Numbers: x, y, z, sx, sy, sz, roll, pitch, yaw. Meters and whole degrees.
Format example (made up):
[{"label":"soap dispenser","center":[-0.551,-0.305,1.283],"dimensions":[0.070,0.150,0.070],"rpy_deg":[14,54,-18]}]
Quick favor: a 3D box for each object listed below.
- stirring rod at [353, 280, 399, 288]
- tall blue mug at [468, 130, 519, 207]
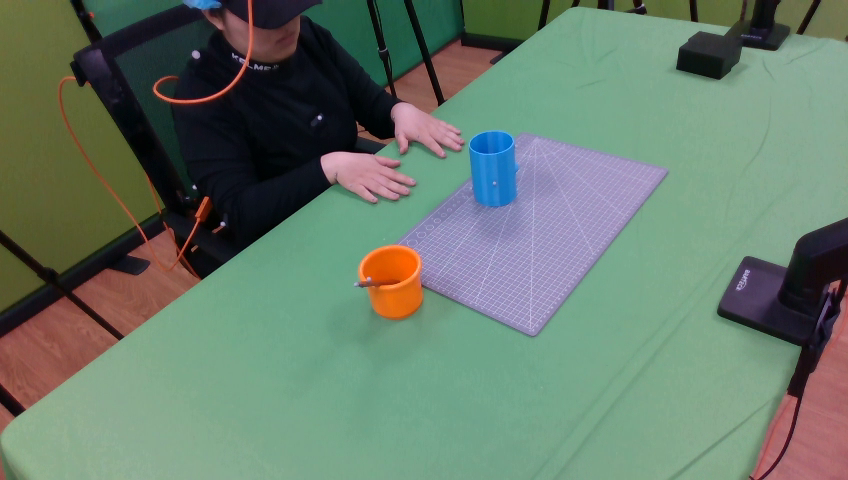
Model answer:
[{"label":"stirring rod","center":[-0.063,0.059,0.833],"dimensions":[0.014,0.006,0.177],"rpy_deg":[8,-1,13]},{"label":"tall blue mug","center":[0.114,-0.131,1.045],"dimensions":[0.078,0.108,0.106],"rpy_deg":[-20,41,-11]}]
